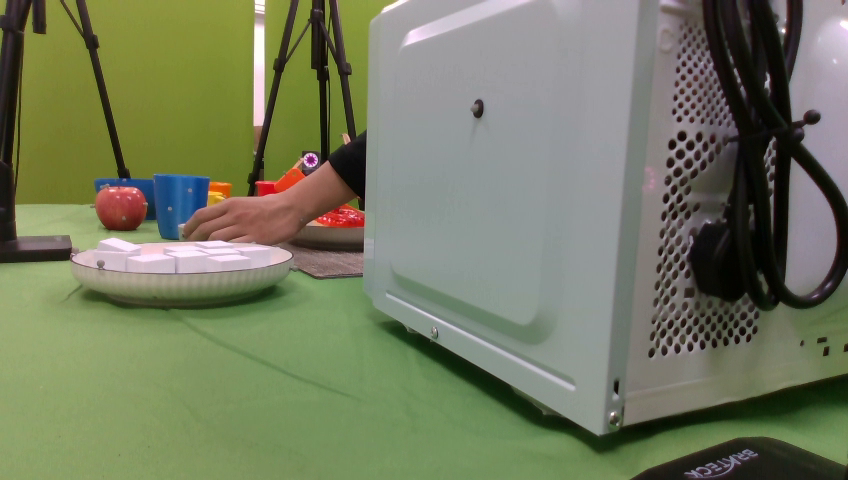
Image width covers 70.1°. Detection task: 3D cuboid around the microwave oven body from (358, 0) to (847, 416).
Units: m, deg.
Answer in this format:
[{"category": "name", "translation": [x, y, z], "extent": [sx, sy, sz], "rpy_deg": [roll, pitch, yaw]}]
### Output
[{"category": "microwave oven body", "translation": [0.211, -0.047, 0.474], "extent": [0.444, 0.260, 0.324], "rpy_deg": [-1, 7, -28]}]

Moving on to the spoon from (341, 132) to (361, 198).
[{"category": "spoon", "translation": [-0.139, -0.151, 1.191], "extent": [0.042, 0.021, 0.193], "rpy_deg": [-9, 55, -13]}]

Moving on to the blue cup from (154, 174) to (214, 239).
[{"category": "blue cup", "translation": [-0.391, -0.054, 0.978], "extent": [0.093, 0.100, 0.092], "rpy_deg": [4, 6, 0]}]

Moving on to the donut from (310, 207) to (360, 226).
[{"category": "donut", "translation": [-0.137, -0.029, 0.995], "extent": [0.099, 0.048, 0.099], "rpy_deg": [3, 9, 0]}]

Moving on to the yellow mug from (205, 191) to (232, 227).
[{"category": "yellow mug", "translation": [-0.415, -0.057, 1.131], "extent": [0.130, 0.064, 0.100], "rpy_deg": [6, 7, 16]}]

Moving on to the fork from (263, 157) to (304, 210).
[{"category": "fork", "translation": [-0.345, -0.143, 1.505], "extent": [0.028, 0.019, 0.207], "rpy_deg": [-4, 46, 28]}]

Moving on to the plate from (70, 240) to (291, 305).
[{"category": "plate", "translation": [-0.242, 0.031, 0.618], "extent": [0.208, 0.039, 0.207], "rpy_deg": [2, 8, 0]}]

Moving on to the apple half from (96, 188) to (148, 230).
[{"category": "apple half", "translation": [-0.517, -0.052, 1.036], "extent": [0.081, 0.074, 0.053], "rpy_deg": [2, 10, -26]}]

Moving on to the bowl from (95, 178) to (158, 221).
[{"category": "bowl", "translation": [-0.576, -0.081, 1.217], "extent": [0.151, 0.077, 0.151], "rpy_deg": [3, 8, 0]}]

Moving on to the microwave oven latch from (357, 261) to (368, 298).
[{"category": "microwave oven latch", "translation": [-0.019, 0.033, 0.530], "extent": [0.079, 0.029, 0.030], "rpy_deg": [0, 7, -25]}]

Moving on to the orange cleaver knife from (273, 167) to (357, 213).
[{"category": "orange cleaver knife", "translation": [-0.239, -0.091, 1.381], "extent": [0.212, 0.077, 0.012], "rpy_deg": [31, 0, -19]}]

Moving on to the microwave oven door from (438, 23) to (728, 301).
[{"category": "microwave oven door", "translation": [0.181, -0.072, 0.620], "extent": [0.358, 0.243, 0.039], "rpy_deg": [-2, 8, -29]}]

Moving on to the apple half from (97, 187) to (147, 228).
[{"category": "apple half", "translation": [-0.534, -0.059, 1.071], "extent": [0.082, 0.081, 0.032], "rpy_deg": [-1, 10, -25]}]

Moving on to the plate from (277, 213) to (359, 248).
[{"category": "plate", "translation": [-0.135, -0.017, 0.993], "extent": [0.209, 0.038, 0.209], "rpy_deg": [3, 8, 0]}]

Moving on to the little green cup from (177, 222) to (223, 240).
[{"category": "little green cup", "translation": [-0.310, -0.003, 0.845], "extent": [0.061, 0.038, 0.061], "rpy_deg": [-2, 10, 1]}]
